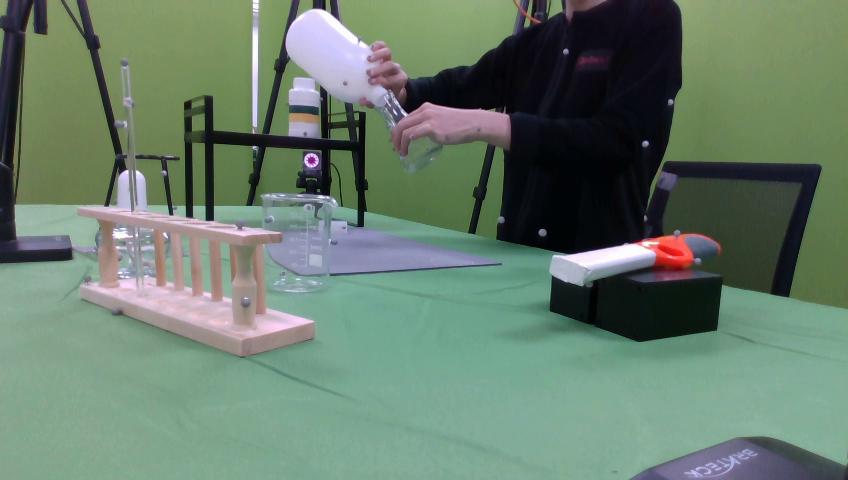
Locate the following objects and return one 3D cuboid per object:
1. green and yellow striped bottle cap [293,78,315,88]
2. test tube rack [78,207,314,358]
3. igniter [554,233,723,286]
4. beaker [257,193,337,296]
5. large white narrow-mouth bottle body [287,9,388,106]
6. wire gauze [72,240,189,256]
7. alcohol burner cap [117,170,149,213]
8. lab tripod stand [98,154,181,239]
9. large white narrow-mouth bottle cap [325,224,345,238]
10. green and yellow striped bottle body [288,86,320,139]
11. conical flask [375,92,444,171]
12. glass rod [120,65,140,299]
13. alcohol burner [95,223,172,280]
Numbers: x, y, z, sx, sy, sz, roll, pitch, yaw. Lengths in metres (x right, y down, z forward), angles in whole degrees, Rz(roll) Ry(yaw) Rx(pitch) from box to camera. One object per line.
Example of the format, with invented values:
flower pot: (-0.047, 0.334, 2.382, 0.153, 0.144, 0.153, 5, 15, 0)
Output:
green and yellow striped bottle cap: (-0.248, -0.323, 1.256, 0.045, 0.020, 0.045, 4, 8, 0)
test tube rack: (-0.197, 0.024, 0.500, 0.241, 0.085, 0.067, 8, 8, 37)
igniter: (0.214, 0.015, 0.570, 0.278, 0.025, 0.057, -5, 22, -44)
beaker: (-0.130, 0.003, 0.628, 0.084, 0.100, 0.074, 5, 8, 15)
large white narrow-mouth bottle body: (-0.131, -0.286, 0.989, 0.194, 0.101, 0.102, 45, 25, 19)
wire gauze: (-0.399, 0.013, 0.820, 0.126, 0.011, 0.121, -3, 8, -37)
alcohol burner cap: (-0.320, -0.052, 0.661, 0.034, 0.048, 0.034, -3, 0, 0)
lab tripod stand: (-0.427, -0.066, 0.942, 0.148, 0.131, 0.148, 1, 6, 0)
large white narrow-mouth bottle cap: (-0.160, -0.017, 1.090, 0.038, 0.024, 0.037, 3, 9, 0)
green and yellow striped bottle body: (-0.250, -0.272, 1.261, 0.063, 0.119, 0.063, 3, 7, 0)
conical flask: (-0.030, -0.174, 0.952, 0.075, 0.121, 0.075, -35, -7, -4)
glass rod: (-0.249, -0.047, 0.513, 0.008, 0.199, 0.008, -1, 4, 0)
alcohol burner: (-0.320, -0.017, 0.667, 0.078, 0.119, 0.078, 0, 7, 0)
